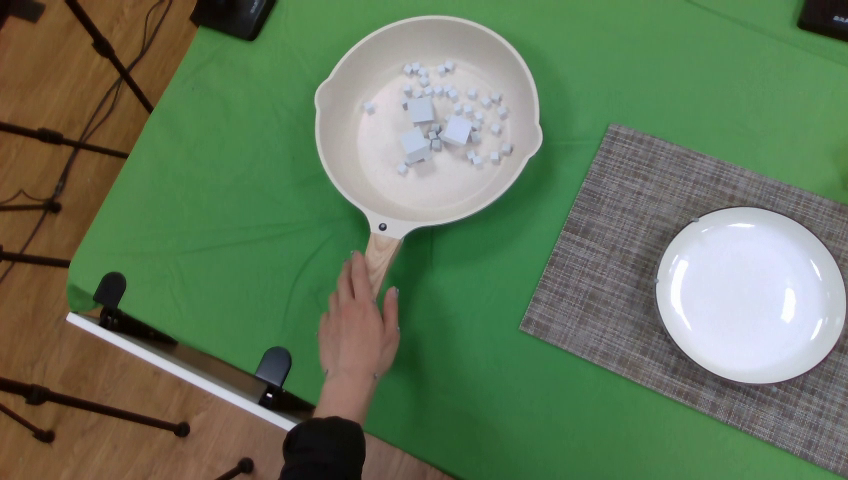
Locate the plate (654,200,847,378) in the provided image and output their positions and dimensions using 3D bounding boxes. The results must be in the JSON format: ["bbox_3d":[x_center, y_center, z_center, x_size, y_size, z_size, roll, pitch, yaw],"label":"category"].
[{"bbox_3d":[0.374,0.057,0.708,0.207,0.039,0.206,-2,76,9],"label":"plate"}]

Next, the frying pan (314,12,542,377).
[{"bbox_3d":[-0.030,-0.063,0.770,0.306,0.103,0.485,16,71,13],"label":"frying pan"}]
